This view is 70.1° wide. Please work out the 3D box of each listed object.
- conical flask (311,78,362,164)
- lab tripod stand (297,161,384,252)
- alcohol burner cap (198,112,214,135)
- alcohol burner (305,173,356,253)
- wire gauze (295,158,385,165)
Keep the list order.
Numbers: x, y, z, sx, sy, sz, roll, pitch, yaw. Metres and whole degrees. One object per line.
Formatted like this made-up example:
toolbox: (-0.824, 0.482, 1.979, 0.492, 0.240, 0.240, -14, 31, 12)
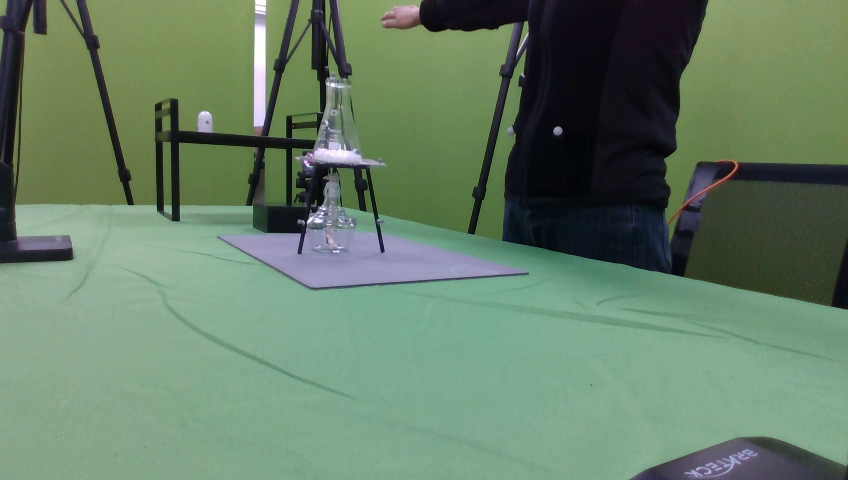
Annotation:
conical flask: (-0.128, -0.174, 0.890, 0.075, 0.122, 0.075, 3, 8, 0)
lab tripod stand: (-0.130, -0.051, 0.903, 0.148, 0.131, 0.148, 3, 9, 0)
alcohol burner cap: (-0.459, -0.246, 1.271, 0.034, 0.048, 0.034, 2, 7, 0)
alcohol burner: (-0.139, -0.041, 0.898, 0.078, 0.119, 0.078, 4, 8, 0)
wire gauze: (-0.128, -0.117, 0.901, 0.125, 0.011, 0.121, -2, 8, -14)
